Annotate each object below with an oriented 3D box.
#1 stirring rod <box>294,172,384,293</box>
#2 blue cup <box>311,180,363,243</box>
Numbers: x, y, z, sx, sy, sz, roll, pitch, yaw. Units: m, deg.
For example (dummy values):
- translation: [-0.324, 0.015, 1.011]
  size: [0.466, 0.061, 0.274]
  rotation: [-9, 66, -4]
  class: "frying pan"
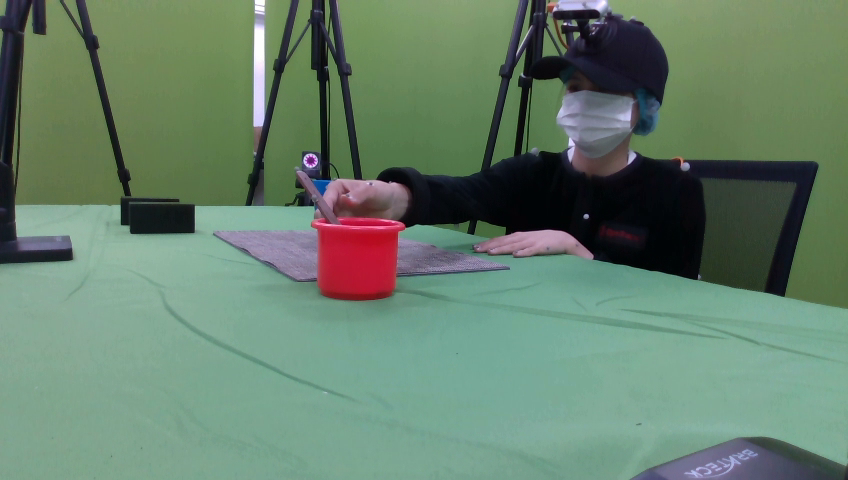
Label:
- translation: [-0.092, -0.012, 0.639]
  size: [0.014, 0.006, 0.175]
  rotation: [-1, 48, -53]
  class: "stirring rod"
- translation: [-0.144, -0.047, 0.997]
  size: [0.093, 0.100, 0.092]
  rotation: [2, 6, 0]
  class: "blue cup"
